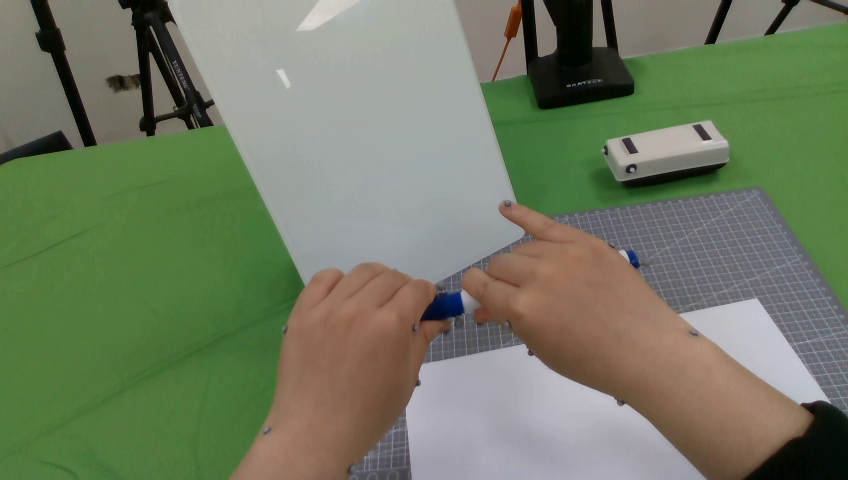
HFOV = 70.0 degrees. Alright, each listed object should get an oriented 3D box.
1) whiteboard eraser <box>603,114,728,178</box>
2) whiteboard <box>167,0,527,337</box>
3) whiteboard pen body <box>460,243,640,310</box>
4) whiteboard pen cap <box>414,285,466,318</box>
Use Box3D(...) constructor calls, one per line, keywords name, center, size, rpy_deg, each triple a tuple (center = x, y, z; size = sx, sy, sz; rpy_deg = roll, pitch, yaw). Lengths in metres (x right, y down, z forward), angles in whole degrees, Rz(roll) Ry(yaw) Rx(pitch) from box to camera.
Box3D(name="whiteboard eraser", center=(0.248, -0.095, 0.627), size=(0.112, 0.042, 0.055), rpy_deg=(-9, 44, 3))
Box3D(name="whiteboard", center=(-0.066, -0.109, 0.572), size=(0.217, 0.308, 0.142), rpy_deg=(-27, 23, -14))
Box3D(name="whiteboard pen body", center=(0.068, 0.027, 0.392), size=(0.141, 0.017, 0.017), rpy_deg=(-16, 41, 3))
Box3D(name="whiteboard pen cap", center=(0.011, 0.040, 0.393), size=(0.033, 0.018, 0.018), rpy_deg=(-11, 41, -6))
